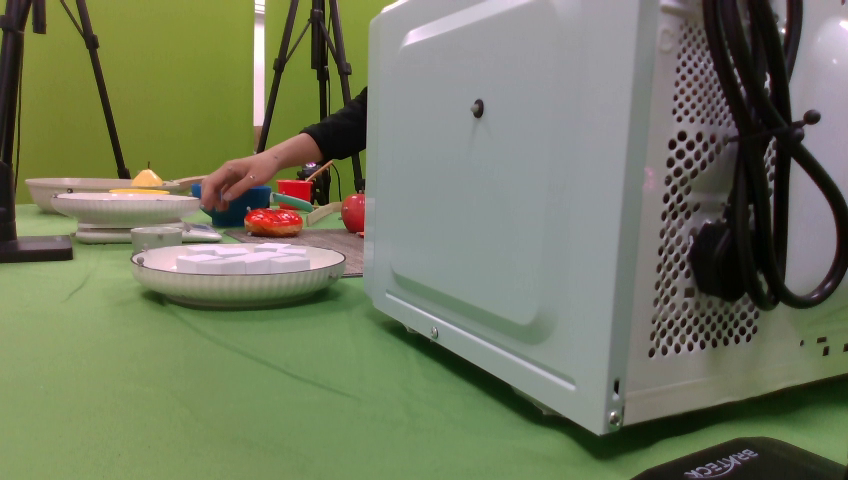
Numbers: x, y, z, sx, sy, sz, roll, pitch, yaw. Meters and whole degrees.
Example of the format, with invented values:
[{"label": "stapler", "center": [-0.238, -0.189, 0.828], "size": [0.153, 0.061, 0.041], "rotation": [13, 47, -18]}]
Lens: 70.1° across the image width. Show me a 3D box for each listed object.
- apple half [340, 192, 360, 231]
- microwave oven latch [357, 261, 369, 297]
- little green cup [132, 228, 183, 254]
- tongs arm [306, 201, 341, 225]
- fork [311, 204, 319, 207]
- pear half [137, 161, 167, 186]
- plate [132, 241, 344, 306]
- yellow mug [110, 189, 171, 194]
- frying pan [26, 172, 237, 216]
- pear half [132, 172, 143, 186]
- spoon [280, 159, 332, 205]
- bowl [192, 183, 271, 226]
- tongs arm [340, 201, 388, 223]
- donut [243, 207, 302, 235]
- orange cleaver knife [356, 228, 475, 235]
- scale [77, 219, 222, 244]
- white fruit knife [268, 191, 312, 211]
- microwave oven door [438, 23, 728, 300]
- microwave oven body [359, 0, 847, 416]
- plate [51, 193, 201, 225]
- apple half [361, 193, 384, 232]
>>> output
[{"label": "apple half", "center": [-0.130, -0.054, 1.143], "size": [0.053, 0.074, 0.081], "rotation": [0, 11, 12]}, {"label": "microwave oven latch", "center": [-0.019, 0.033, 0.530], "size": [0.079, 0.029, 0.030], "rotation": [-1, 7, -26]}, {"label": "little green cup", "center": [-0.342, 0.006, 0.779], "size": [0.061, 0.038, 0.061], "rotation": [2, 8, 0]}, {"label": "tongs arm", "center": [-0.235, -0.067, 1.414], "size": [0.028, 0.028, 0.387], "rotation": [-6, 7, 1]}, {"label": "fork", "center": [-0.356, -0.105, 1.526], "size": [0.208, 0.018, 0.028], "rotation": [16, -6, -41]}, {"label": "pear half", "center": [-0.602, -0.120, 1.354], "size": [0.056, 0.110, 0.076], "rotation": [4, 11, 6]}, {"label": "plate", "center": [-0.187, 0.033, 0.625], "size": [0.208, 0.039, 0.207], "rotation": [2, 7, 0]}, {"label": "yellow mug", "center": [-0.519, -0.055, 1.080], "size": [0.099, 0.064, 0.131], "rotation": [7, 10, 26]}, {"label": "frying pan", "center": [-0.624, -0.118, 1.387], "size": [0.305, 0.102, 0.490], "rotation": [8, 17, 32]}, {"label": "pear half", "center": [-0.638, -0.113, 1.361], "size": [0.031, 0.088, 0.070], "rotation": [5, 11, 4]}, {"label": "spoon", "center": [-0.317, -0.159, 1.640], "size": [0.194, 0.022, 0.041], "rotation": [-49, 32, -20]}, {"label": "bowl", "center": [-0.382, -0.070, 1.202], "size": [0.151, 0.077, 0.151], "rotation": [3, 7, 0]}, {"label": "tongs arm", "center": [-0.149, -0.069, 1.429], "size": [0.051, 0.026, 0.383], "rotation": [-4, 8, -15]}, {"label": "donut", "center": [-0.261, -0.032, 1.043], "size": [0.099, 0.048, 0.099], "rotation": [4, 9, 0]}, {"label": "orange cleaver knife", "center": [-0.017, -0.015, 1.080], "size": [0.211, 0.012, 0.077], "rotation": [0, 2, -2]}, {"label": "scale", "center": [-0.434, -0.019, 0.963], "size": [0.202, 0.031, 0.148], "rotation": [-1, 9, -27]}, {"label": "white fruit knife", "center": [-0.364, -0.105, 1.464], "size": [0.208, 0.027, 0.016], "rotation": [15, 0, -34]}, {"label": "microwave oven door", "center": [0.181, -0.073, 0.621], "size": [0.358, 0.243, 0.039], "rotation": [-2, 8, -29]}, {"label": "microwave oven body", "center": [0.211, -0.047, 0.474], "size": [0.444, 0.260, 0.324], "rotation": [-1, 7, -28]}, {"label": "plate", "center": [-0.460, -0.050, 0.945], "size": [0.209, 0.038, 0.209], "rotation": [2, 7, 0]}, {"label": "apple half", "center": [-0.092, -0.053, 1.136], "size": [0.033, 0.081, 0.081], "rotation": [0, 7, 13]}]
